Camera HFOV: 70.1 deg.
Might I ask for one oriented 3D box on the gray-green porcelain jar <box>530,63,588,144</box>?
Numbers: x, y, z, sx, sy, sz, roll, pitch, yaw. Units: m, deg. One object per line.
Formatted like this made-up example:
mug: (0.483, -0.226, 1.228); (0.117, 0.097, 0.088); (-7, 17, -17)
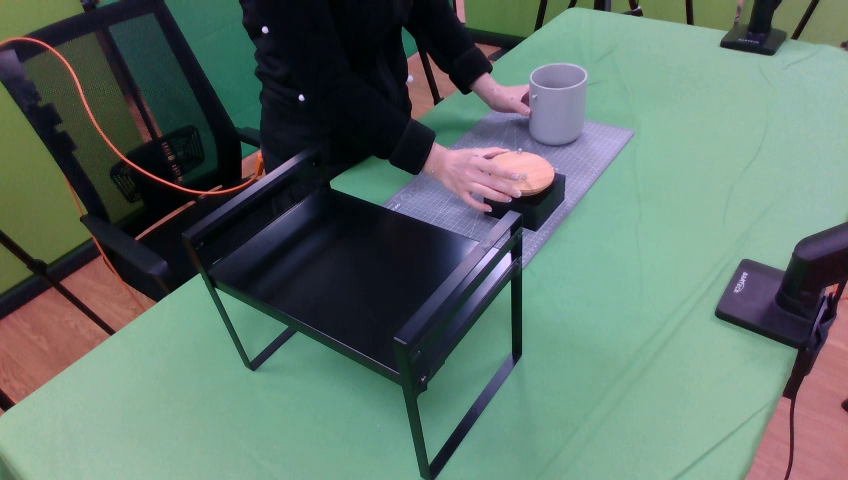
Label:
gray-green porcelain jar: (0.255, -0.255, 1.150); (0.106, 0.127, 0.105); (-4, 41, 4)

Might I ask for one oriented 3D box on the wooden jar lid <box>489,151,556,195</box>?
wooden jar lid: (0.160, -0.109, 0.990); (0.108, 0.021, 0.108); (2, 42, -2)
